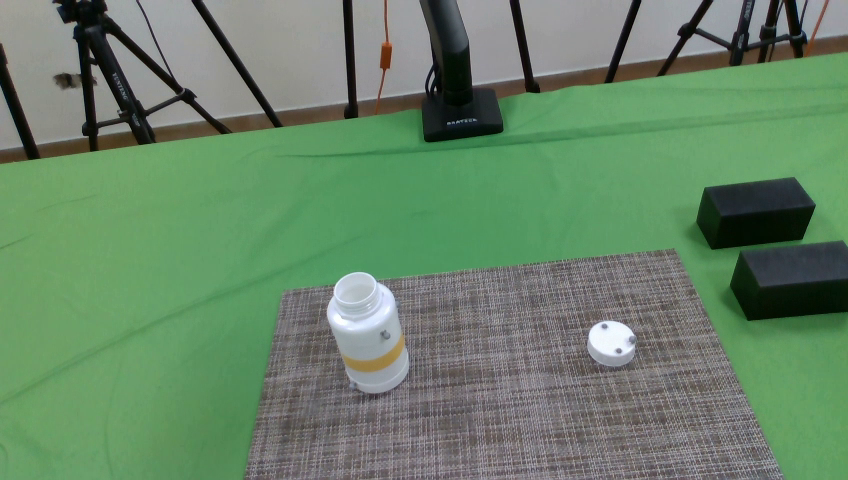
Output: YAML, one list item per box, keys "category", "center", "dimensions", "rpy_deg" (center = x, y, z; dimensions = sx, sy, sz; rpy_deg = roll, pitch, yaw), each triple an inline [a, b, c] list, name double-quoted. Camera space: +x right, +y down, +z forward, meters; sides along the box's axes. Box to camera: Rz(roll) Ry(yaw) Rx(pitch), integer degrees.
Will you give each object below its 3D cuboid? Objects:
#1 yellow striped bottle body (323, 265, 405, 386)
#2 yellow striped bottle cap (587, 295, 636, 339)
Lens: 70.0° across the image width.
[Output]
- category: "yellow striped bottle body"
  center: [-0.056, 0.078, 0.567]
  dimensions: [0.063, 0.121, 0.062]
  rpy_deg: [-5, 43, 5]
- category: "yellow striped bottle cap"
  center: [0.178, 0.074, 0.576]
  dimensions: [0.044, 0.019, 0.044]
  rpy_deg: [-7, 35, 6]
